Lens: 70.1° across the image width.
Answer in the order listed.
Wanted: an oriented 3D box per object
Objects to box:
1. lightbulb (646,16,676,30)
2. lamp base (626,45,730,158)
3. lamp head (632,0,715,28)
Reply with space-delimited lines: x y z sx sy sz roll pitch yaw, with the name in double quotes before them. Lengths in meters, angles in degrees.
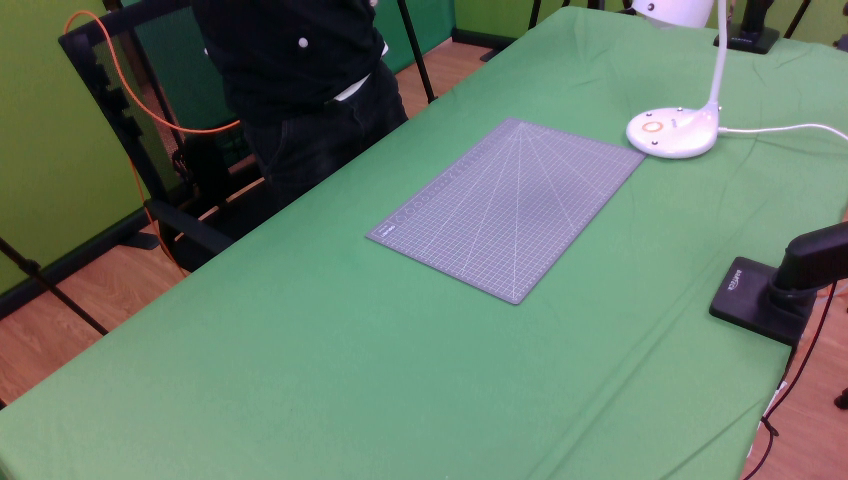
"lightbulb" 0.364 -0.362 0.883 0.060 0.108 0.059 8 40 -7
"lamp base" 0.467 -0.262 1.086 0.179 0.181 0.159 -4 41 0
"lamp head" 0.376 -0.379 0.868 0.113 0.123 0.112 13 31 -7
